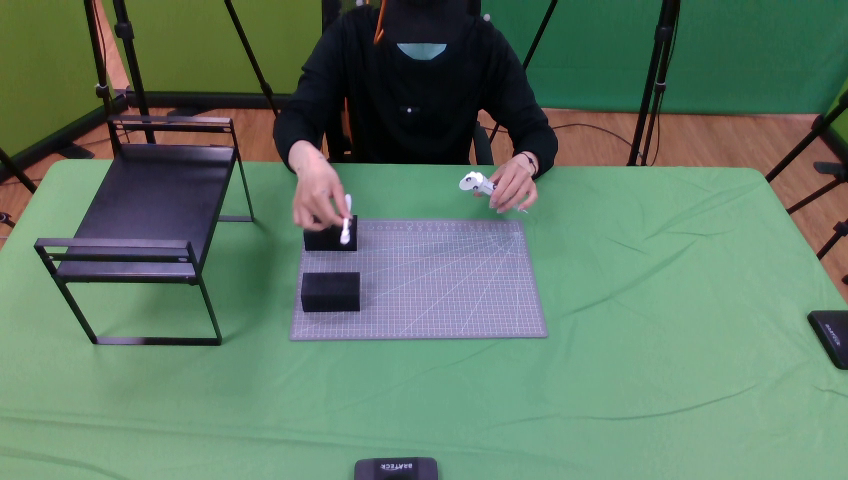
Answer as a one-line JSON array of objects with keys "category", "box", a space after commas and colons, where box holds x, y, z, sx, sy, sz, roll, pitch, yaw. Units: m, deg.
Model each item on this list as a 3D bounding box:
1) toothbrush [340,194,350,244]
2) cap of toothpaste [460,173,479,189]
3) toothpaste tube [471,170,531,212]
[{"category": "toothbrush", "box": [-0.140, -0.044, 1.082, 0.014, 0.017, 0.181, -1, 29, -5]}, {"category": "cap of toothpaste", "box": [0.082, -0.109, 1.102, 0.037, 0.037, 0.011, -12, 54, -15]}, {"category": "toothpaste tube", "box": [0.141, -0.093, 1.170, 0.166, 0.034, 0.054, 24, 12, -39]}]
